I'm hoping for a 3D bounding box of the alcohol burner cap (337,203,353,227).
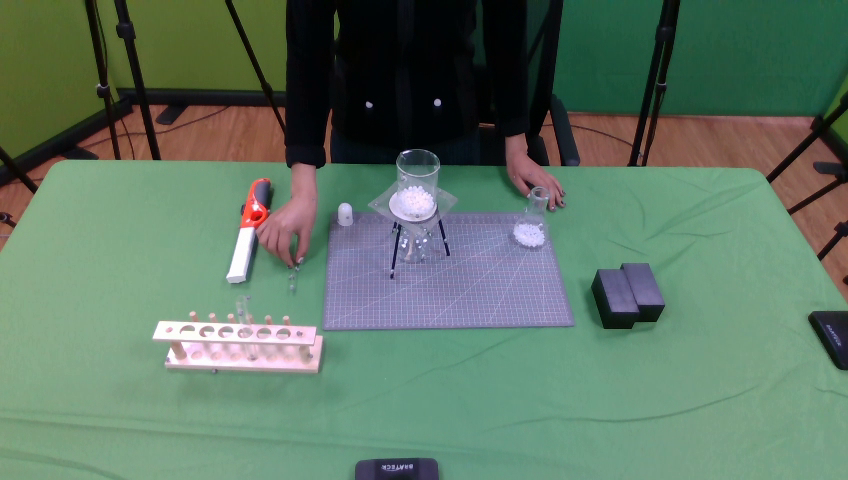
[{"bbox_3d":[-0.162,-0.054,1.221,0.034,0.048,0.033,0,49,0],"label":"alcohol burner cap"}]

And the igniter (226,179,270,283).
[{"bbox_3d":[-0.345,-0.027,1.195,0.057,0.025,0.274,-6,45,5],"label":"igniter"}]

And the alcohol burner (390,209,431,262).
[{"bbox_3d":[-0.024,-0.014,1.144,0.078,0.119,0.077,4,45,-3],"label":"alcohol burner"}]

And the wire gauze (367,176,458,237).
[{"bbox_3d":[-0.021,-0.066,1.089,0.124,0.011,0.121,27,47,22],"label":"wire gauze"}]

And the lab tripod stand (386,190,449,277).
[{"bbox_3d":[-0.021,-0.018,1.135,0.148,0.132,0.147,3,44,-3],"label":"lab tripod stand"}]

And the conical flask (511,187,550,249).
[{"bbox_3d":[0.217,-0.048,1.190,0.075,0.122,0.075,2,46,-2],"label":"conical flask"}]

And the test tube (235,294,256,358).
[{"bbox_3d":[-0.274,0.136,0.933,0.017,0.151,0.017,4,46,-4],"label":"test tube"}]

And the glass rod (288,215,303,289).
[{"bbox_3d":[-0.248,0.019,1.171,0.008,0.008,0.198,0,43,-4],"label":"glass rod"}]

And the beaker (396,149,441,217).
[{"bbox_3d":[-0.015,-0.098,1.054,0.074,0.101,0.083,-32,55,-31],"label":"beaker"}]

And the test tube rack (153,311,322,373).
[{"bbox_3d":[-0.293,0.160,0.978,0.242,0.085,0.066,3,46,-2],"label":"test tube rack"}]
